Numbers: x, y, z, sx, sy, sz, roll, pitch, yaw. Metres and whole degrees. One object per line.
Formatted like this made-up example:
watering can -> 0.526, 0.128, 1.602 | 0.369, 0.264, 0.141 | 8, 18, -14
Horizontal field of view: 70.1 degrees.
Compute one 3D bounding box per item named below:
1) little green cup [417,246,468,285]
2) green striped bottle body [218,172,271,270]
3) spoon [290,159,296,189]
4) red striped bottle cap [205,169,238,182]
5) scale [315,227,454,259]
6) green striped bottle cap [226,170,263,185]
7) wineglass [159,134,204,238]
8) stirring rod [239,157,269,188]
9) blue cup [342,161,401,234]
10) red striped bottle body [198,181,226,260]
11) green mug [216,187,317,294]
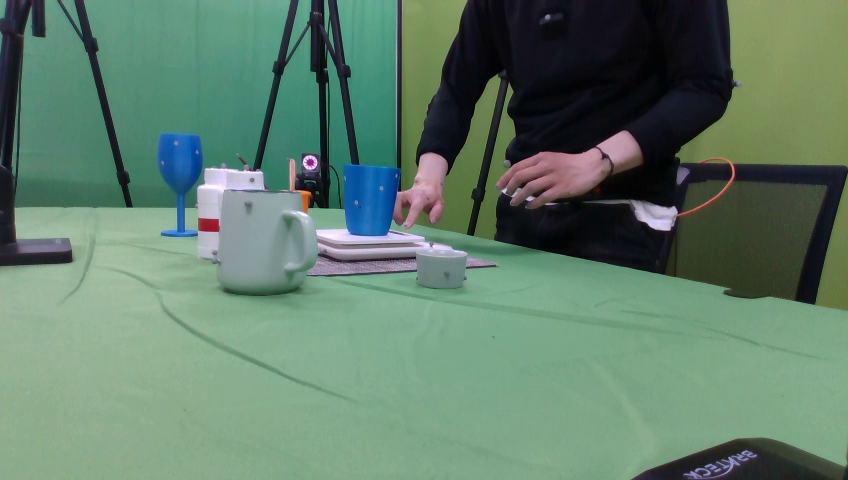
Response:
little green cup -> 0.021, 0.029, 0.701 | 0.061, 0.038, 0.061 | 1, 6, 0
green striped bottle body -> -0.223, -0.025, 0.755 | 0.063, 0.119, 0.063 | 1, 7, 0
spoon -> -0.273, -0.102, 1.252 | 0.042, 0.193, 0.021 | 7, -38, -17
red striped bottle cap -> -0.274, -0.088, 0.821 | 0.044, 0.017, 0.044 | -1, 6, 0
scale -> -0.066, 0.001, 0.906 | 0.202, 0.031, 0.148 | -2, 8, -31
green striped bottle cap -> -0.222, -0.077, 0.748 | 0.044, 0.020, 0.044 | 1, 7, 0
wineglass -> -0.415, -0.093, 1.040 | 0.074, 0.172, 0.073 | 2, 7, 0
stirring rod -> -0.309, -0.098, 1.209 | 0.006, 0.177, 0.014 | -39, 29, -3
blue cup -> -0.079, -0.061, 0.882 | 0.093, 0.100, 0.092 | 4, 6, 0
red striped bottle body -> -0.275, -0.036, 0.827 | 0.063, 0.119, 0.063 | 1, 7, 0
green mug -> -0.157, 0.000, 0.629 | 0.124, 0.105, 0.093 | 7, 9, 37
